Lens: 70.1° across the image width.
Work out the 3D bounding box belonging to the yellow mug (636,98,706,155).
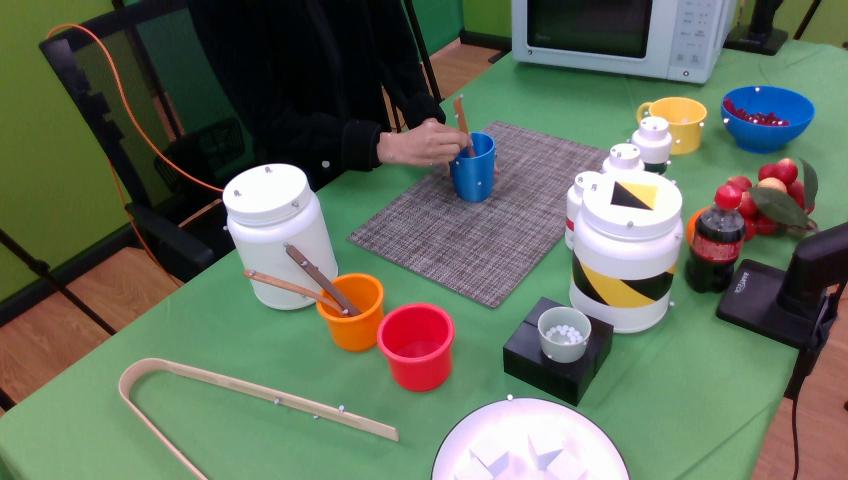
[{"bbox_3d":[0.453,-0.217,1.128,0.100,0.064,0.129,-34,46,-27],"label":"yellow mug"}]

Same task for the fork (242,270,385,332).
[{"bbox_3d":[-0.142,0.082,0.802,0.209,0.018,0.028,28,38,-26],"label":"fork"}]

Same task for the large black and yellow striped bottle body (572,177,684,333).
[{"bbox_3d":[0.262,0.017,0.788,0.131,0.185,0.130,-5,40,4],"label":"large black and yellow striped bottle body"}]

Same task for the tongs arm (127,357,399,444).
[{"bbox_3d":[-0.213,0.205,0.755,0.382,0.026,0.051,12,46,23],"label":"tongs arm"}]

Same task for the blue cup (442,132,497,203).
[{"bbox_3d":[0.083,-0.120,1.039,0.092,0.100,0.092,-2,39,2],"label":"blue cup"}]

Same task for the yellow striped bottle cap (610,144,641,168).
[{"bbox_3d":[0.307,-0.128,0.923,0.044,0.019,0.044,-6,39,5],"label":"yellow striped bottle cap"}]

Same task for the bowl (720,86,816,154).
[{"bbox_3d":[0.605,-0.206,1.081,0.151,0.077,0.150,-5,40,5],"label":"bowl"}]

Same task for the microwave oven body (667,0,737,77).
[{"bbox_3d":[0.462,-0.552,1.369,0.439,0.261,0.326,15,45,26],"label":"microwave oven body"}]

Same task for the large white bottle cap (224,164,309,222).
[{"bbox_3d":[-0.216,-0.066,0.829,0.115,0.018,0.114,-4,40,4],"label":"large white bottle cap"}]

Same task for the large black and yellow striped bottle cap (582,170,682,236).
[{"bbox_3d":[0.252,-0.048,0.735,0.115,0.019,0.114,-3,40,3],"label":"large black and yellow striped bottle cap"}]

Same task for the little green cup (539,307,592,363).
[{"bbox_3d":[0.168,0.115,0.721,0.061,0.039,0.061,-4,42,4],"label":"little green cup"}]

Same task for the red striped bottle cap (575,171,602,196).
[{"bbox_3d":[0.242,-0.081,0.876,0.044,0.018,0.044,-5,44,5],"label":"red striped bottle cap"}]

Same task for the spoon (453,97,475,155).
[{"bbox_3d":[0.075,-0.153,0.990,0.041,0.195,0.021,-22,41,3],"label":"spoon"}]

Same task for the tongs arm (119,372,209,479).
[{"bbox_3d":[-0.258,0.257,0.700,0.384,0.028,0.028,24,55,34],"label":"tongs arm"}]

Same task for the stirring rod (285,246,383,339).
[{"bbox_3d":[-0.121,0.071,0.819,0.176,0.006,0.014,44,52,-6],"label":"stirring rod"}]

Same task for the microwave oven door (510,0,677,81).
[{"bbox_3d":[0.354,-0.478,1.290,0.353,0.245,0.039,15,45,25],"label":"microwave oven door"}]

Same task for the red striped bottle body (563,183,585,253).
[{"bbox_3d":[0.246,-0.041,0.910,0.063,0.120,0.062,-2,38,2],"label":"red striped bottle body"}]

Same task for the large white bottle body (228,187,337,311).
[{"bbox_3d":[-0.207,-0.002,0.883,0.130,0.185,0.130,-4,40,4],"label":"large white bottle body"}]

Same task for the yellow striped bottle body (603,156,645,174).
[{"bbox_3d":[0.313,-0.089,0.956,0.063,0.121,0.062,-4,39,4],"label":"yellow striped bottle body"}]

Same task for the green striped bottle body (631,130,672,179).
[{"bbox_3d":[0.375,-0.140,1.007,0.063,0.120,0.063,-5,40,5],"label":"green striped bottle body"}]

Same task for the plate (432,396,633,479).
[{"bbox_3d":[0.112,0.261,0.634,0.209,0.038,0.208,-5,40,4],"label":"plate"}]

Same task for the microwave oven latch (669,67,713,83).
[{"bbox_3d":[0.556,-0.349,1.261,0.078,0.029,0.030,16,46,27],"label":"microwave oven latch"}]

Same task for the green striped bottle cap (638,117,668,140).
[{"bbox_3d":[0.369,-0.180,0.974,0.044,0.020,0.044,-4,41,4],"label":"green striped bottle cap"}]
